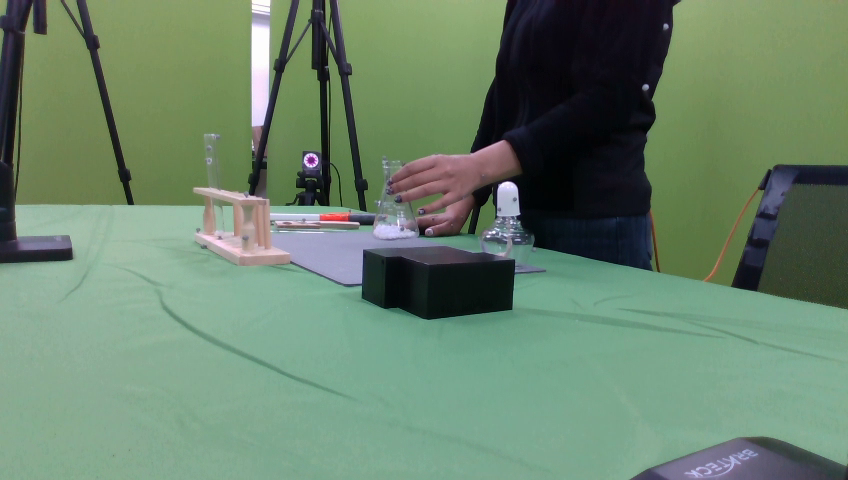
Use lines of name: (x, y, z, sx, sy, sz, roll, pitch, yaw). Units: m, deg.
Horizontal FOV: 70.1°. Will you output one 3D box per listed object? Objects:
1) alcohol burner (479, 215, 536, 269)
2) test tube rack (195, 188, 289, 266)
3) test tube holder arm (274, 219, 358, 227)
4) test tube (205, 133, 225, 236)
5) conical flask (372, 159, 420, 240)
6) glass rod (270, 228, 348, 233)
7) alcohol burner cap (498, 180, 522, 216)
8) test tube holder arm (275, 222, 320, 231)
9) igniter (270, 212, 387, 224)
alcohol burner: (0.114, -0.021, 0.816, 0.078, 0.119, 0.078, 2, 9, 0)
test tube rack: (-0.266, -0.025, 0.864, 0.067, 0.085, 0.241, -2, 9, -33)
test tube holder arm: (-0.206, -0.032, 1.177, 0.179, 0.015, 0.013, -4, 46, -40)
test tube: (-0.305, -0.079, 0.883, 0.017, 0.150, 0.017, -2, 10, 1)
conical flask: (-0.044, -0.063, 0.932, 0.075, 0.122, 0.075, -1, 6, 0)
glass rod: (-0.234, -0.017, 1.105, 0.201, 0.008, 0.008, 1, 7, -26)
alcohol burner cap: (0.114, -0.056, 0.810, 0.034, 0.048, 0.034, -5, 12, 1)
test tube holder arm: (-0.238, -0.026, 1.145, 0.088, 0.015, 0.010, -3, 45, -39)
igniter: (-0.213, -0.048, 1.278, 0.278, 0.025, 0.057, -1, -2, -25)
